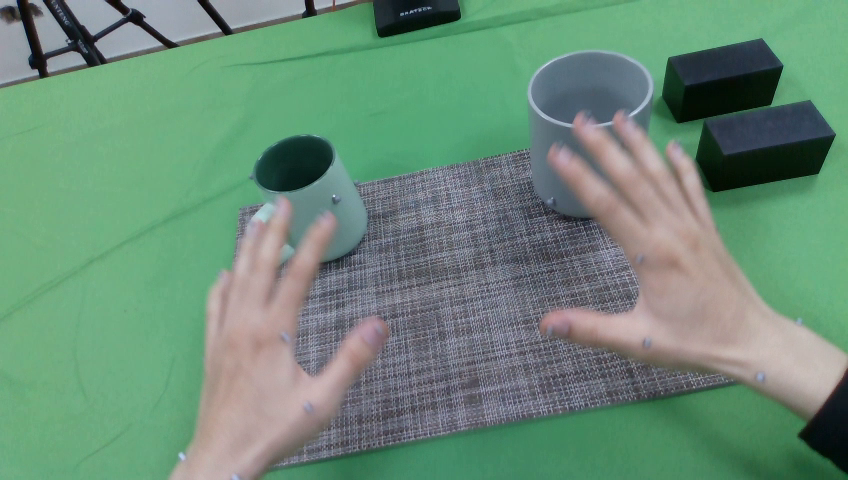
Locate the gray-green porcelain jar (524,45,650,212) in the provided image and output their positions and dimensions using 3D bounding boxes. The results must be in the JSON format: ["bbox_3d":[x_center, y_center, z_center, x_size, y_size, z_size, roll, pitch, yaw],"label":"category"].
[{"bbox_3d":[0.149,-0.097,0.564,0.106,0.128,0.105,-6,51,8],"label":"gray-green porcelain jar"}]

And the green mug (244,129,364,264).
[{"bbox_3d":[-0.122,-0.031,0.586,0.092,0.106,0.125,23,60,27],"label":"green mug"}]
